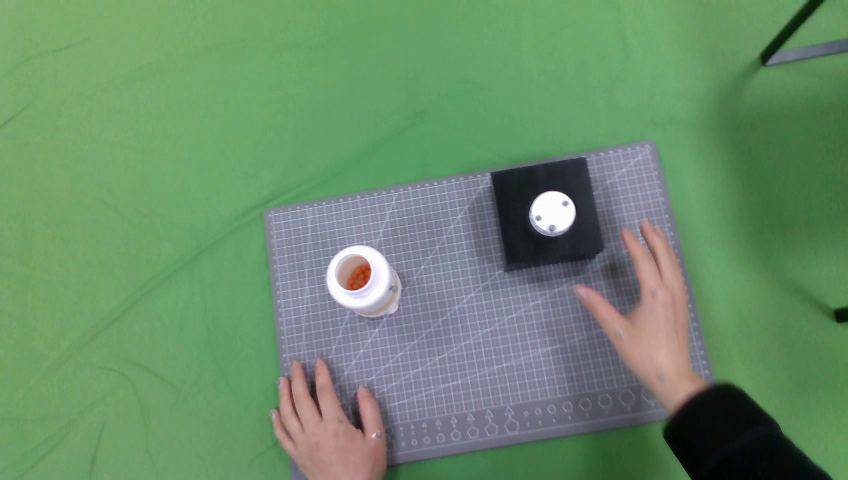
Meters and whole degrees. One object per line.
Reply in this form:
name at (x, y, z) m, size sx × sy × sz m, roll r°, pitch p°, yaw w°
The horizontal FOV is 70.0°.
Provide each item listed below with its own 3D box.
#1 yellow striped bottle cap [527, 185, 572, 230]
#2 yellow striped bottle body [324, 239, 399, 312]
yellow striped bottle cap at (0.128, -0.033, 0.614) m, size 0.044 × 0.019 × 0.044 m, roll 0°, pitch 81°, yaw 2°
yellow striped bottle body at (-0.063, 0.036, 0.611) m, size 0.063 × 0.121 × 0.062 m, roll -1°, pitch 78°, yaw 4°
